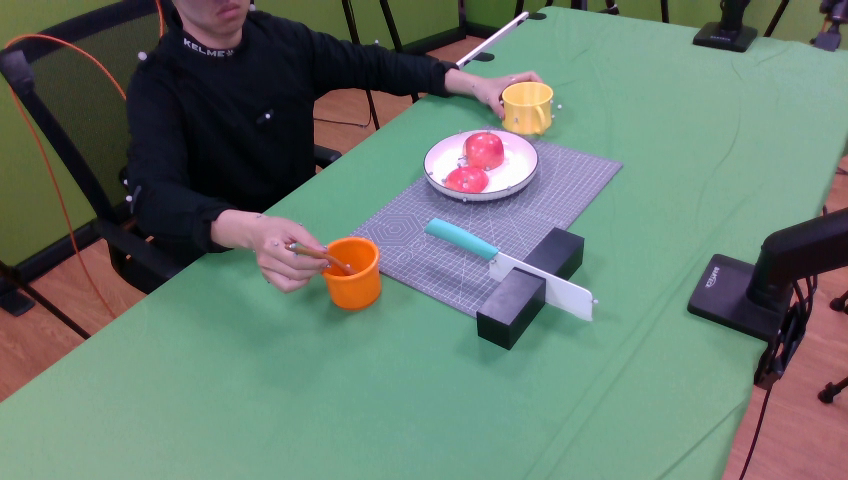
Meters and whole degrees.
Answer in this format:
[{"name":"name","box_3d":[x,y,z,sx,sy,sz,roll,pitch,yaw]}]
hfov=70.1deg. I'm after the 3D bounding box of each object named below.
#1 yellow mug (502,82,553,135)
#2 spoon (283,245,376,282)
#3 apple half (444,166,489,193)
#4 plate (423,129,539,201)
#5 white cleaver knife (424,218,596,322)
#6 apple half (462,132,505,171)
[{"name":"yellow mug","box_3d":[0.212,-0.256,1.203,0.100,0.064,0.130,-17,42,-9]},{"name":"spoon","box_3d":[-0.129,0.032,0.837,0.041,0.195,0.021,6,75,31]},{"name":"apple half","box_3d":[0.074,-0.112,1.062,0.081,0.033,0.081,-6,39,5]},{"name":"plate","box_3d":[0.103,-0.132,1.092,0.209,0.038,0.208,-4,40,4]},{"name":"white cleaver knife","box_3d":[0.114,0.042,0.865,0.284,0.066,0.021,27,47,28]},{"name":"apple half","box_3d":[0.109,-0.169,1.110,0.075,0.053,0.080,-6,40,-2]}]
